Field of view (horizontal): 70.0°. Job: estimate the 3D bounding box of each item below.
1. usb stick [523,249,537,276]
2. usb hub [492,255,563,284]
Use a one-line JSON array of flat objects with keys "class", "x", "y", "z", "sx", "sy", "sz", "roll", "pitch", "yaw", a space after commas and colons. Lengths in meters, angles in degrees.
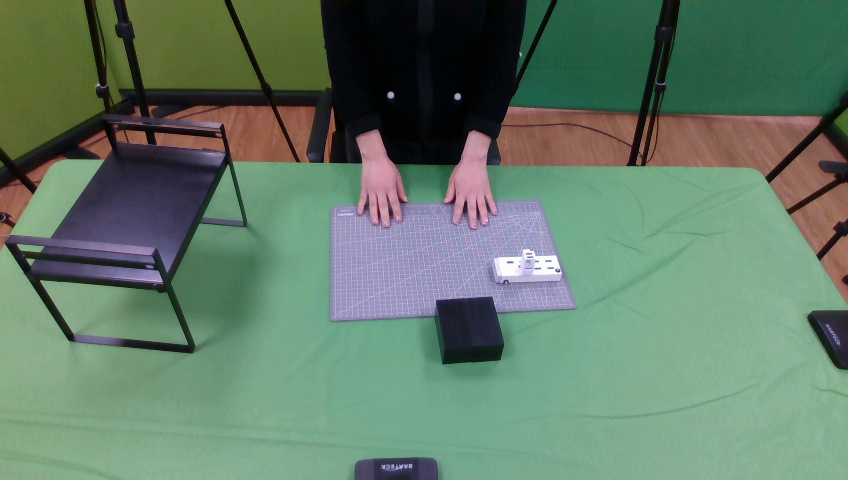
[{"class": "usb stick", "x": 0.195, "y": 0.047, "z": 1.119, "sx": 0.021, "sy": 0.059, "sz": 0.027, "roll": -6, "pitch": 45, "yaw": 1}, {"class": "usb hub", "x": 0.196, "y": 0.056, "z": 1.150, "sx": 0.125, "sy": 0.025, "sz": 0.049, "roll": -3, "pitch": 46, "yaw": -6}]
